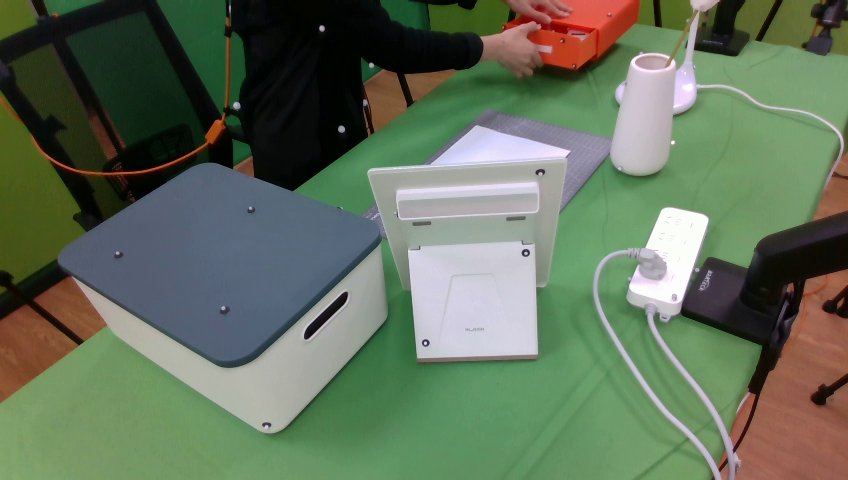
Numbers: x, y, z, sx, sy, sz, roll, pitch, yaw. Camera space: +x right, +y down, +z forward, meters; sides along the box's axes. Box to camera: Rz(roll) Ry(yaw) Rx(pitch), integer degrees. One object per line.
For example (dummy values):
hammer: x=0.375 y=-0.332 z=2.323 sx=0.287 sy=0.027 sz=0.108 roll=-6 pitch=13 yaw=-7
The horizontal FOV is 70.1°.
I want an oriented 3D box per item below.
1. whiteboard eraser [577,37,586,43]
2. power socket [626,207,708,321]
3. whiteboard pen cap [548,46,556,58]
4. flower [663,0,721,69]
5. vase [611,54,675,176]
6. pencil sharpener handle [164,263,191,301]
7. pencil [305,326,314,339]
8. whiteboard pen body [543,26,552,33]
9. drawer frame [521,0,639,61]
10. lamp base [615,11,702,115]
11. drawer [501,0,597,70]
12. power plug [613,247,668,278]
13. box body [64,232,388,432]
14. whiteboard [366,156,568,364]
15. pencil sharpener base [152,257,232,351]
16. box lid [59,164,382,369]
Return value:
whiteboard eraser: x=0.354 y=-0.434 z=1.373 sx=0.055 sy=0.042 sz=0.113 roll=1 pitch=12 yaw=21
power socket: x=0.359 y=0.025 z=0.886 sx=0.072 sy=0.033 sz=0.227 roll=16 pitch=46 yaw=26
whiteboard pen cap: x=0.285 y=-0.419 z=1.345 sx=0.018 sy=0.018 sz=0.033 roll=-1 pitch=41 yaw=7
flower: x=0.379 y=-0.261 z=0.965 sx=0.044 sy=0.362 sz=0.038 roll=20 pitch=52 yaw=5
vase: x=0.377 y=-0.209 z=1.031 sx=0.098 sy=0.201 sz=0.097 roll=-3 pitch=40 yaw=3
pencil sharpener handle: x=-0.354 y=0.055 z=0.866 sx=0.036 sy=0.068 sz=0.030 roll=-17 pitch=39 yaw=-29
pencil: x=-0.187 y=0.106 z=0.880 sx=0.012 sy=0.012 sz=0.192 roll=-27 pitch=42 yaw=-22
whiteboard pen body: x=0.289 y=-0.461 z=1.387 sx=0.017 sy=0.017 sz=0.140 roll=-2 pitch=39 yaw=5
drawer frame: x=0.361 y=-0.514 z=1.417 sx=0.200 sy=0.083 sz=0.214 roll=24 pitch=51 yaw=32
lamp base: x=0.484 y=-0.364 z=1.211 sx=0.180 sy=0.181 sz=0.159 roll=-15 pitch=41 yaw=-14
drawer: x=0.311 y=-0.472 z=1.370 sx=0.193 sy=0.073 sz=0.212 roll=23 pitch=47 yaw=32
power plug: x=0.306 y=0.031 z=0.851 sx=0.072 sy=0.053 sz=0.035 roll=24 pitch=49 yaw=34
box body: x=-0.256 y=0.065 z=0.827 sx=0.361 sy=0.161 sz=0.255 roll=20 pitch=48 yaw=29
whiteboard: x=0.059 y=0.050 z=0.738 sx=0.217 sy=0.307 sz=0.143 roll=-2 pitch=60 yaw=6
pencil sharpener base: x=-0.322 y=0.088 z=0.841 sx=0.061 sy=0.107 sz=0.076 roll=-28 pitch=44 yaw=-20
box lid: x=-0.263 y=0.010 z=0.777 sx=0.368 sy=0.015 sz=0.264 roll=20 pitch=47 yaw=29
